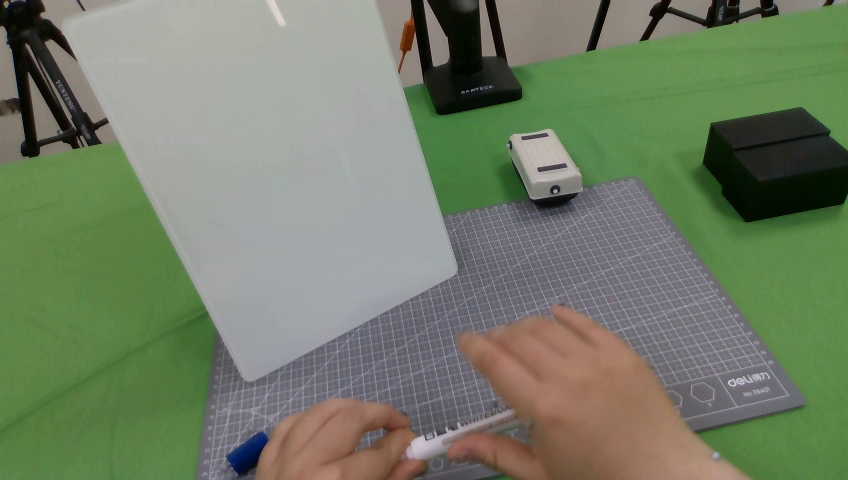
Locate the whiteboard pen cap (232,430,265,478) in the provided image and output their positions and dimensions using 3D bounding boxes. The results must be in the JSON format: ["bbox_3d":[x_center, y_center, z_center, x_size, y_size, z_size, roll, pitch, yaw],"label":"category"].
[{"bbox_3d":[-0.131,0.160,0.450,0.018,0.018,0.033,1,58,11],"label":"whiteboard pen cap"}]

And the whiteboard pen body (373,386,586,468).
[{"bbox_3d":[0.036,0.120,0.382,0.141,0.017,0.017,-17,41,-4],"label":"whiteboard pen body"}]

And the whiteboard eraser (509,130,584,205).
[{"bbox_3d":[0.131,-0.079,0.662,0.055,0.042,0.111,-12,37,0],"label":"whiteboard eraser"}]

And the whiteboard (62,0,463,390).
[{"bbox_3d":[-0.127,-0.069,0.539,0.217,0.308,0.142,-26,24,-18],"label":"whiteboard"}]
